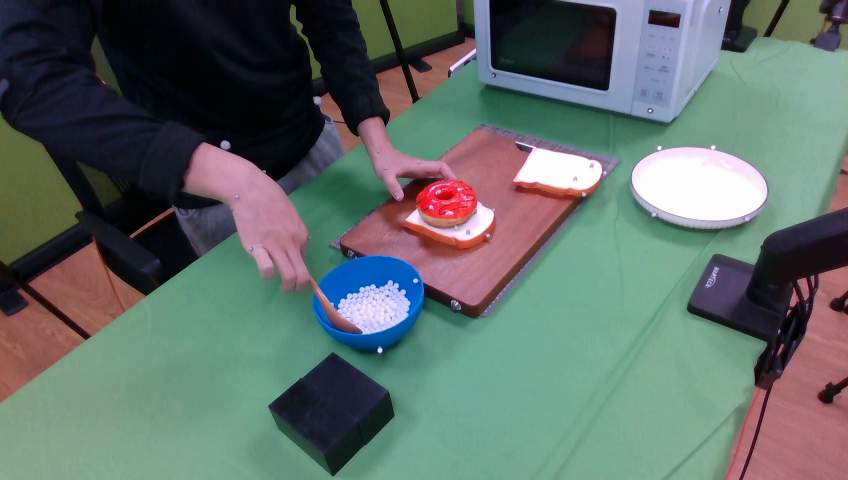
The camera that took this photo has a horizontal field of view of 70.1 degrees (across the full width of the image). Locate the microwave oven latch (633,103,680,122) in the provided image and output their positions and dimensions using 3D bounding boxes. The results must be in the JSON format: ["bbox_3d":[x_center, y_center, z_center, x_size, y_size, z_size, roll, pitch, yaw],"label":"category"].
[{"bbox_3d":[0.444,-0.249,1.157,0.078,0.029,0.030,21,49,30],"label":"microwave oven latch"}]

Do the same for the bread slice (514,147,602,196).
[{"bbox_3d":[0.233,-0.115,1.027,0.133,0.018,0.107,13,45,20],"label":"bread slice"}]

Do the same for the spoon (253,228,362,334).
[{"bbox_3d":[-0.151,0.056,0.784,0.022,0.041,0.194,-42,95,-27],"label":"spoon"}]

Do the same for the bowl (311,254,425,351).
[{"bbox_3d":[-0.071,0.097,0.821,0.151,0.077,0.150,-4,40,4],"label":"bowl"}]

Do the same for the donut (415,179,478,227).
[{"bbox_3d":[0.036,-0.058,0.944,0.099,0.048,0.098,-5,40,5],"label":"donut"}]

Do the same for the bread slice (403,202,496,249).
[{"bbox_3d":[0.048,-0.034,0.961,0.130,0.019,0.105,22,49,32],"label":"bread slice"}]

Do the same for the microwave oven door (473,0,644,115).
[{"bbox_3d":[0.257,-0.396,1.199,0.353,0.245,0.039,21,48,29],"label":"microwave oven door"}]

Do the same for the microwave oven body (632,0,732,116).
[{"bbox_3d":[0.377,-0.462,1.267,0.438,0.261,0.327,21,49,30],"label":"microwave oven body"}]

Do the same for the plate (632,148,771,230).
[{"bbox_3d":[0.447,-0.081,0.988,0.207,0.039,0.206,-4,40,4],"label":"plate"}]
